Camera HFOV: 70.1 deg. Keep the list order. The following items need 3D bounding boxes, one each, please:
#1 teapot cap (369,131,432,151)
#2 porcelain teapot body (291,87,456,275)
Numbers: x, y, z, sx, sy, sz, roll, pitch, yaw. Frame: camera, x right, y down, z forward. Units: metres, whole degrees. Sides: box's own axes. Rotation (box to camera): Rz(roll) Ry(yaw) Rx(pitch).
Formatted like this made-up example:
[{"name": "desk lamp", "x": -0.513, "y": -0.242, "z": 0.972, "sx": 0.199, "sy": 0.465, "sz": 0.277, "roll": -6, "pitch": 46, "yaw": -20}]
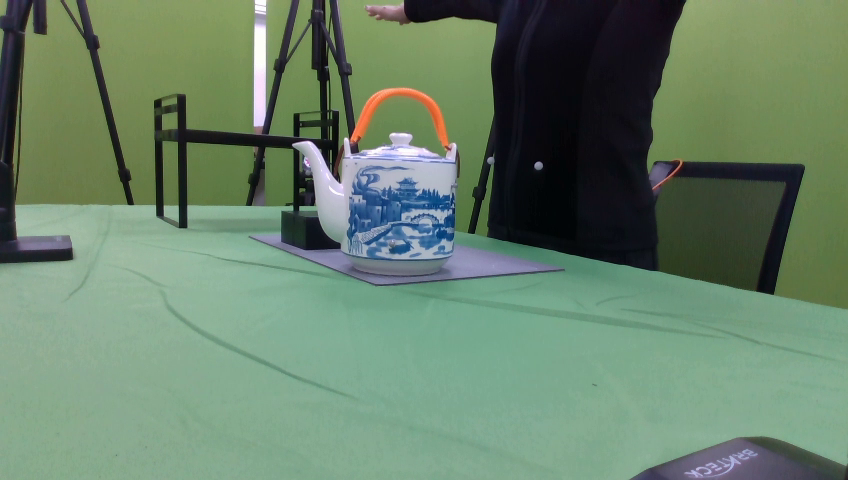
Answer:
[{"name": "teapot cap", "x": -0.030, "y": -0.114, "z": 0.754, "sx": 0.085, "sy": 0.044, "sz": 0.085, "roll": 0, "pitch": 10, "yaw": 0}, {"name": "porcelain teapot body", "x": -0.061, "y": -0.076, "z": 0.754, "sx": 0.206, "sy": 0.225, "sz": 0.145, "roll": 0, "pitch": 8, "yaw": -12}]
